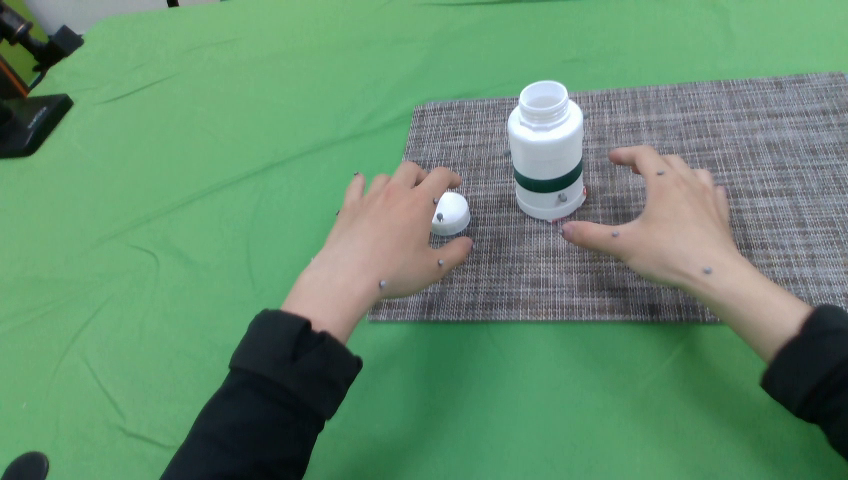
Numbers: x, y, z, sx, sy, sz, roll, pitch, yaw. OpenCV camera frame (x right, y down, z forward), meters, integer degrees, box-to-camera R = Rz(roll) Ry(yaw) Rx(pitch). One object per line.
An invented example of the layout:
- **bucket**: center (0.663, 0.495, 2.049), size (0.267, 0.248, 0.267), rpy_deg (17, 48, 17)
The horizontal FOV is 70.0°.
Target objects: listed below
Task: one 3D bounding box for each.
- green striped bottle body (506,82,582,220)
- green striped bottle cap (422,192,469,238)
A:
- **green striped bottle body**: center (0.107, -0.079, 0.533), size (0.063, 0.120, 0.062), rpy_deg (-7, 49, 9)
- **green striped bottle cap**: center (0.020, -0.025, 0.581), size (0.044, 0.020, 0.044), rpy_deg (-4, 50, 6)
